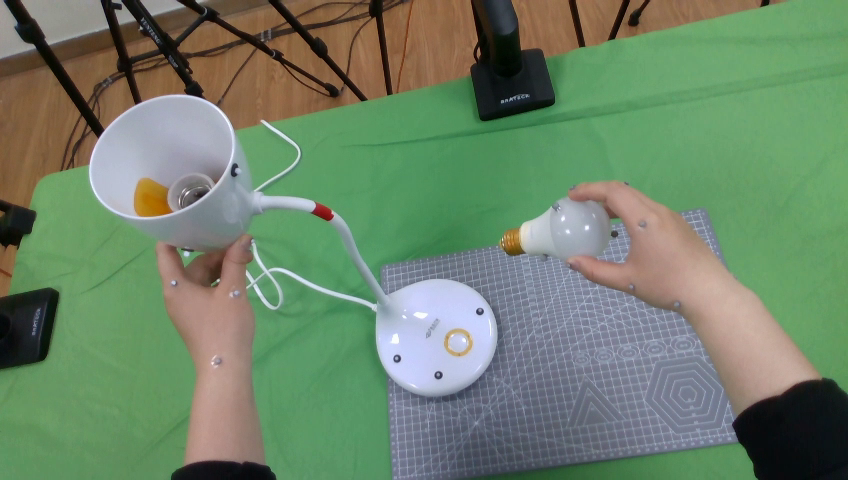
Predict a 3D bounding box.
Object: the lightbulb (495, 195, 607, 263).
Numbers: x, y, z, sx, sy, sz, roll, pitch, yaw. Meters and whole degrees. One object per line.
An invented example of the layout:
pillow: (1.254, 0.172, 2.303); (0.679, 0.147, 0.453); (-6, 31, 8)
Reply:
lightbulb: (0.112, -0.006, 0.549); (0.107, 0.060, 0.059); (-12, 57, 38)

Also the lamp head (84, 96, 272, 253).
lamp head: (-0.191, -0.041, 0.503); (0.112, 0.124, 0.111); (-4, 65, 8)

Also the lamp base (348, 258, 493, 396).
lamp base: (-0.017, 0.085, 0.728); (0.178, 0.182, 0.160); (13, 66, 23)
